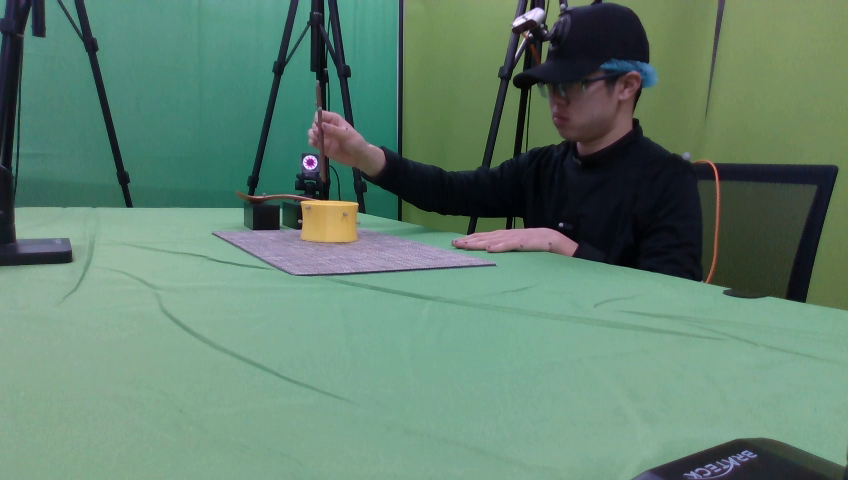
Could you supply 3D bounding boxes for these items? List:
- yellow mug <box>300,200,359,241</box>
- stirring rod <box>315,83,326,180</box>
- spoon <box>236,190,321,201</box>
[{"bbox_3d":[-0.156,-0.036,1.060,0.099,0.064,0.131,6,7,27],"label":"yellow mug"},{"bbox_3d":[-0.186,-0.194,1.082,0.006,0.176,0.014,-5,-3,12],"label":"stirring rod"},{"bbox_3d":[-0.290,-0.088,1.248,0.195,0.021,0.041,0,6,-31],"label":"spoon"}]
